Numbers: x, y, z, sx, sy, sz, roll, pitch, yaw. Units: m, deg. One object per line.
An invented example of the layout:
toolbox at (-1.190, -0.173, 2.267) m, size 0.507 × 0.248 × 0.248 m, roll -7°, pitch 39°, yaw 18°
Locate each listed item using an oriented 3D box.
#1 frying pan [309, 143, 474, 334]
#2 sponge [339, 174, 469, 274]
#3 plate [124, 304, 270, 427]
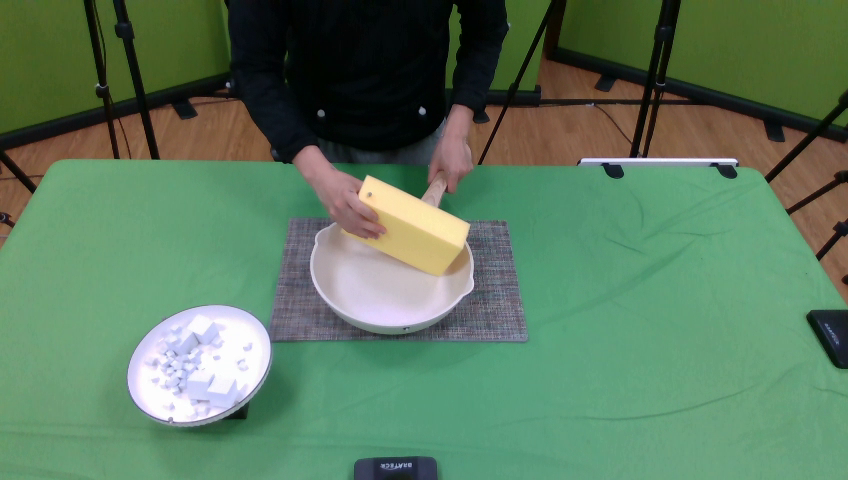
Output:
frying pan at (-0.017, -0.022, 1.155) m, size 0.306 × 0.103 × 0.486 m, roll 20°, pitch 56°, yaw 13°
sponge at (-0.037, -0.023, 1.098) m, size 0.207 × 0.118 × 0.060 m, roll 25°, pitch 55°, yaw -11°
plate at (-0.336, 0.189, 0.913) m, size 0.208 × 0.039 × 0.206 m, roll 1°, pitch 46°, yaw -1°
